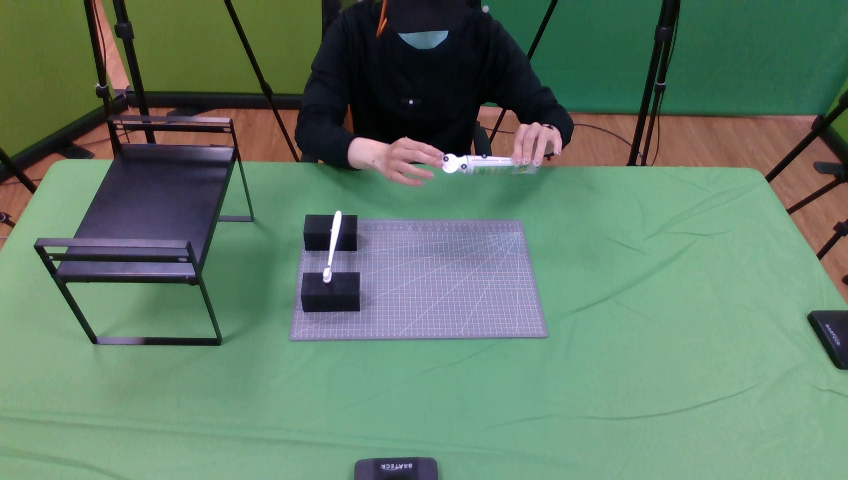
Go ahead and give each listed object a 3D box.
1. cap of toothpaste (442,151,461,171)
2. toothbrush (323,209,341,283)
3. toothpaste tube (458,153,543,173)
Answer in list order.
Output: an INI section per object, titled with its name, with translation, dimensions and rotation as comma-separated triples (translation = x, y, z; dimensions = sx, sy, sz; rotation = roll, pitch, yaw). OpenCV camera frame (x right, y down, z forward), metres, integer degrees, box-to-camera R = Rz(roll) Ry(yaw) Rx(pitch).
[cap of toothpaste]
translation = 0.049, -0.143, 1.100
dimensions = 0.037, 0.037, 0.011
rotation = -11, 10, -15
[toothbrush]
translation = -0.167, 0.005, 1.106
dimensions = 0.014, 0.017, 0.180
rotation = -5, 45, 6
[toothpaste tube]
translation = 0.136, -0.143, 1.129
dimensions = 0.165, 0.055, 0.034
rotation = 1, 74, -7
